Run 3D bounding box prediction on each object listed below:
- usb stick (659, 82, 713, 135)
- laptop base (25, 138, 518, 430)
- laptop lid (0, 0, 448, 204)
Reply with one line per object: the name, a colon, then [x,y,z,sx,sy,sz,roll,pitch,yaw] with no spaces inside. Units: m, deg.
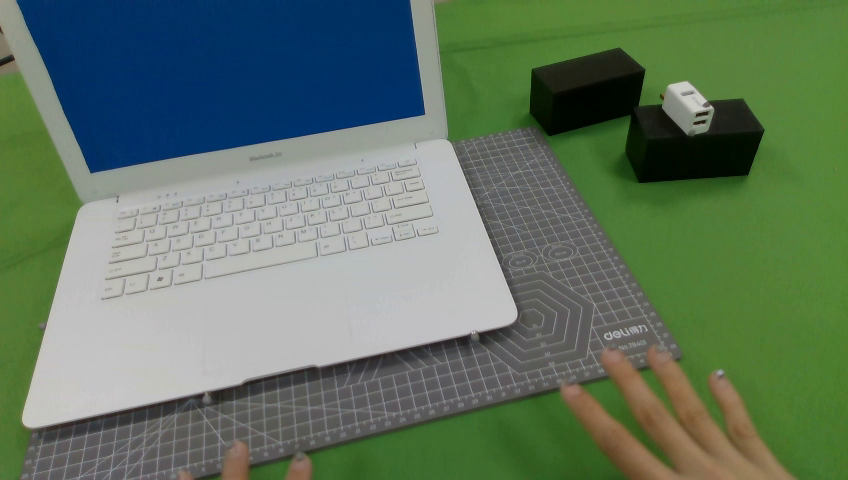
usb stick: [0.226,-0.119,0.532,0.021,0.027,0.058,-13,43,-5]
laptop base: [-0.123,0.018,0.507,0.355,0.023,0.233,-11,49,-6]
laptop lid: [-0.161,-0.163,0.528,0.357,0.244,0.013,-13,31,-5]
